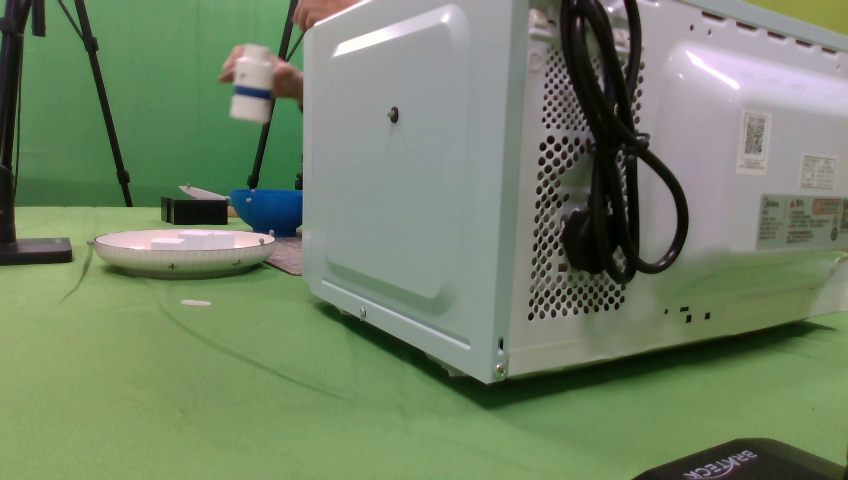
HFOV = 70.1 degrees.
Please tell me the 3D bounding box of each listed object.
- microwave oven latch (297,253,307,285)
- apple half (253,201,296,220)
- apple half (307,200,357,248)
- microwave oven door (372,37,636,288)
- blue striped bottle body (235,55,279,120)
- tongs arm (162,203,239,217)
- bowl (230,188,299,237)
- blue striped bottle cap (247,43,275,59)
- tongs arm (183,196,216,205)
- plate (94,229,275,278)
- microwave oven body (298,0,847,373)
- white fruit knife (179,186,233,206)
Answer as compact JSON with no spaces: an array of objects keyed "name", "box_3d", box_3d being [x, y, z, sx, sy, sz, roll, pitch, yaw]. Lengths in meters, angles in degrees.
[{"name":"microwave oven latch","box_3d":[-0.081,0.027,0.582,0.079,0.029,0.030,-1,7,-32]},{"name":"apple half","box_3d":[-0.264,-0.053,1.067,0.081,0.033,0.081,2,8,0]},{"name":"apple half","box_3d":[-0.135,-0.024,0.942,0.053,0.074,0.081,13,9,38]},{"name":"microwave oven door","box_3d":[0.110,-0.080,0.686,0.358,0.243,0.039,-2,9,-33]},{"name":"blue striped bottle body","box_3d":[-0.283,-0.269,1.030,0.063,0.120,0.063,11,14,-2]},{"name":"tongs arm","box_3d":[-0.396,-0.067,1.399,0.389,0.028,0.028,1,5,-15]},{"name":"bowl","box_3d":[-0.264,-0.048,1.065,0.151,0.077,0.151,3,8,0]},{"name":"blue striped bottle cap","box_3d":[-0.273,-0.318,1.017,0.044,0.020,0.044,10,11,-2]},{"name":"tongs arm","box_3d":[-0.404,-0.081,1.479,0.385,0.026,0.050,3,8,-2]},{"name":"plate","box_3d":[-0.291,0.016,0.750,0.208,0.039,0.207,2,7,0]},{"name":"microwave oven body","box_3d":[0.151,-0.055,0.542,0.444,0.260,0.324,-2,7,-33]},{"name":"white fruit knife","box_3d":[-0.413,-0.081,1.270,0.208,0.027,0.016,17,14,-41]}]
